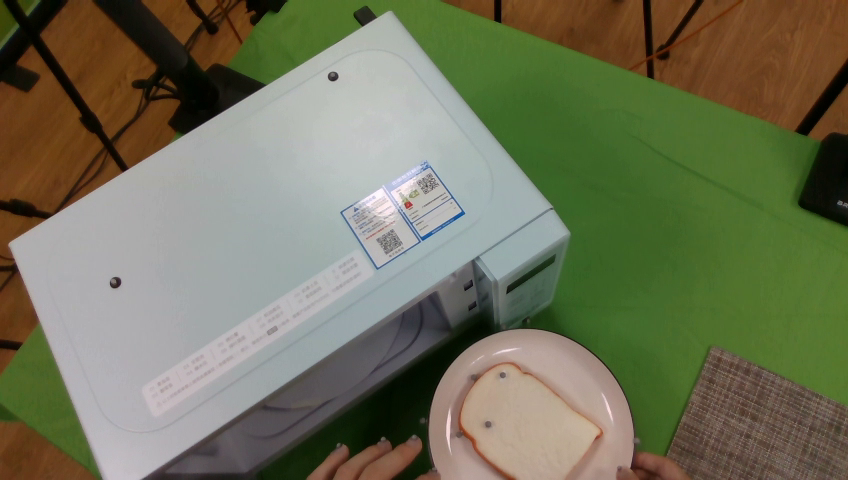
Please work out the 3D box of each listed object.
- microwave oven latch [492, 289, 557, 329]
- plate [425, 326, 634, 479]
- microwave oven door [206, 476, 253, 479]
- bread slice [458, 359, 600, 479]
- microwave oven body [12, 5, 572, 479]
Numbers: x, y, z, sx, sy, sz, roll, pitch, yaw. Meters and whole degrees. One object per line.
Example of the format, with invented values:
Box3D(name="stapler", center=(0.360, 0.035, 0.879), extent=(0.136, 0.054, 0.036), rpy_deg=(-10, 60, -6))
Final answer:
Box3D(name="microwave oven latch", center=(0.118, 0.075, 0.716), extent=(0.079, 0.030, 0.030), rpy_deg=(-31, 70, -4))
Box3D(name="plate", center=(0.105, 0.195, 0.624), extent=(0.207, 0.039, 0.206), rpy_deg=(-1, 70, 3))
Box3D(name="microwave oven door", center=(-0.059, 0.282, 0.554), extent=(0.355, 0.245, 0.039), rpy_deg=(11, 71, 11))
Box3D(name="bread slice", center=(0.100, 0.190, 0.627), extent=(0.131, 0.019, 0.105), rpy_deg=(38, 75, 14))
Box3D(name="microwave oven body", center=(-0.122, 0.025, 0.661), extent=(0.442, 0.262, 0.323), rpy_deg=(-33, 70, -5))
